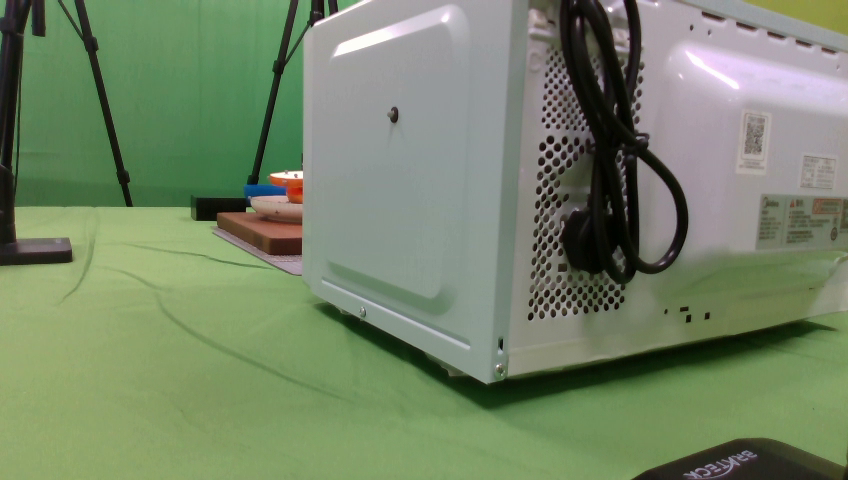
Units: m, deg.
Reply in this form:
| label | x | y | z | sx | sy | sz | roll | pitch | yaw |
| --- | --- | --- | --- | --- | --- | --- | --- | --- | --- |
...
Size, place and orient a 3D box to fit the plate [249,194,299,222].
| label | x | y | z | sx | sy | sz | roll | pitch | yaw |
| --- | --- | --- | --- | --- | --- | --- | --- | --- | --- |
| plate | -0.217 | -0.058 | 1.122 | 0.208 | 0.039 | 0.207 | 3 | 7 | 0 |

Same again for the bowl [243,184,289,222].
| label | x | y | z | sx | sy | sz | roll | pitch | yaw |
| --- | --- | --- | --- | --- | --- | --- | --- | --- | --- |
| bowl | -0.321 | -0.081 | 1.333 | 0.151 | 0.077 | 0.151 | 3 | 7 | 0 |

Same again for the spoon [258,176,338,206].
| label | x | y | z | sx | sy | sz | roll | pitch | yaw |
| --- | --- | --- | --- | --- | --- | --- | --- | --- | --- |
| spoon | -0.279 | -0.112 | 1.356 | 0.194 | 0.021 | 0.041 | -28 | 18 | -27 |

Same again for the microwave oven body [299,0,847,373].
| label | x | y | z | sx | sy | sz | roll | pitch | yaw |
| --- | --- | --- | --- | --- | --- | --- | --- | --- | --- |
| microwave oven body | 0.152 | -0.055 | 0.542 | 0.444 | 0.260 | 0.324 | -2 | 7 | -33 |

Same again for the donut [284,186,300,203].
| label | x | y | z | sx | sy | sz | roll | pitch | yaw |
| --- | --- | --- | --- | --- | --- | --- | --- | --- | --- |
| donut | -0.210 | -0.087 | 1.124 | 0.099 | 0.048 | 0.099 | 3 | 0 | 0 |

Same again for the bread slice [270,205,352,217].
| label | x | y | z | sx | sy | sz | roll | pitch | yaw |
| --- | --- | --- | --- | --- | --- | --- | --- | --- | --- |
| bread slice | -0.213 | -0.054 | 1.116 | 0.104 | 0.019 | 0.132 | 6 | 5 | 41 |

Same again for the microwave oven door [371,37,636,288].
| label | x | y | z | sx | sy | sz | roll | pitch | yaw |
| --- | --- | --- | --- | --- | --- | --- | --- | --- | --- |
| microwave oven door | 0.109 | -0.080 | 0.686 | 0.358 | 0.243 | 0.039 | -2 | 9 | -33 |

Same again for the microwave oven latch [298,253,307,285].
| label | x | y | z | sx | sy | sz | roll | pitch | yaw |
| --- | --- | --- | --- | --- | --- | --- | --- | --- | --- |
| microwave oven latch | -0.081 | 0.027 | 0.582 | 0.079 | 0.029 | 0.030 | -1 | 7 | -32 |

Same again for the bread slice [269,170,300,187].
| label | x | y | z | sx | sy | sz | roll | pitch | yaw |
| --- | --- | --- | --- | --- | --- | --- | --- | --- | --- |
| bread slice | -0.213 | -0.115 | 1.112 | 0.106 | 0.018 | 0.135 | 9 | 16 | 38 |
